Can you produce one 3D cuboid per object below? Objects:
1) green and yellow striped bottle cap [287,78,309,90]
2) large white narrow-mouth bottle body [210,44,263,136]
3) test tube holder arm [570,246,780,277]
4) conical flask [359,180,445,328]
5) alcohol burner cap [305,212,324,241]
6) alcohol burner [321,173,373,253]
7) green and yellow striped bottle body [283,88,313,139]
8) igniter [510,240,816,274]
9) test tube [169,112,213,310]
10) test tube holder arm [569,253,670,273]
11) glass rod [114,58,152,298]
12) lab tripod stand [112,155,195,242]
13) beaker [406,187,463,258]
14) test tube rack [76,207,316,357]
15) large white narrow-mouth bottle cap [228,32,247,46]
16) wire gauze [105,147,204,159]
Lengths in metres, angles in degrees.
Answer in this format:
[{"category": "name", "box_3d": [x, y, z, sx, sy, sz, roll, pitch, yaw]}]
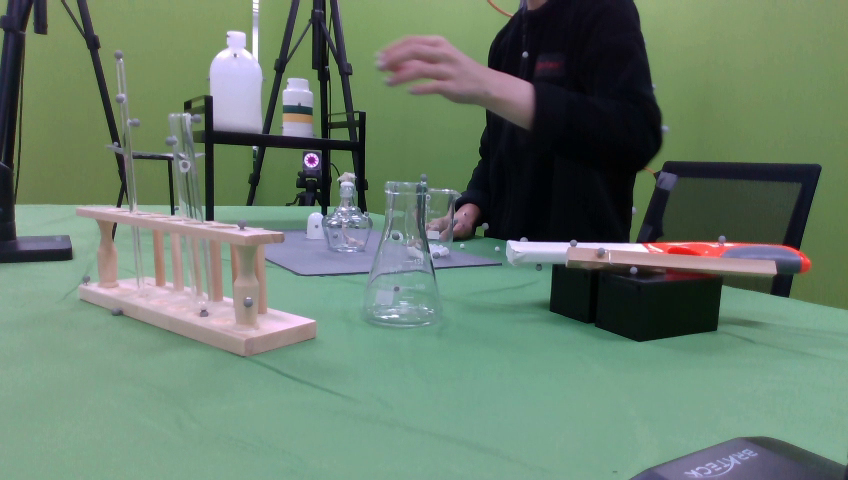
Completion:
[{"category": "green and yellow striped bottle cap", "box_3d": [-0.265, -0.326, 1.268, 0.045, 0.020, 0.045, 4, 6, 0]}, {"category": "large white narrow-mouth bottle body", "box_3d": [-0.369, -0.305, 1.194, 0.102, 0.194, 0.102, 3, 8, 0]}, {"category": "test tube holder arm", "box_3d": [0.217, 0.019, 0.525, 0.178, 0.015, 0.013, 3, -23, 3]}, {"category": "conical flask", "box_3d": [-0.017, 0.010, 0.522, 0.075, 0.122, 0.075, 2, 7, 0]}, {"category": "alcohol burner cap", "box_3d": [-0.185, -0.023, 1.027, 0.034, 0.048, 0.034, 2, 7, 0]}, {"category": "alcohol burner", "box_3d": [-0.115, -0.041, 0.905, 0.078, 0.119, 0.078, 1, 6, 0]}, {"category": "green and yellow striped bottle body", "box_3d": [-0.266, -0.275, 1.275, 0.063, 0.119, 0.063, 2, 7, 0]}, {"category": "igniter", "box_3d": [0.220, 0.015, 0.565, 0.277, 0.025, 0.057, 2, 17, 0]}, {"category": "test tube", "box_3d": [-0.175, -0.020, 0.455, 0.017, 0.150, 0.017, -3, 9, 1]}, {"category": "test tube holder arm", "box_3d": [0.172, 0.019, 0.532, 0.088, 0.015, 0.010, 3, -23, 3]}, {"category": "glass rod", "box_3d": [-0.236, -0.044, 0.492, 0.008, 0.199, 0.008, 0, 15, 0]}, {"category": "lab tripod stand", "box_3d": [-0.405, -0.064, 0.931, 0.148, 0.131, 0.148, 1, 6, 0]}, {"category": "beaker", "box_3d": [0.013, -0.026, 0.892, 0.084, 0.100, 0.074, 3, 8, -2]}, {"category": "test tube rack", "box_3d": [-0.196, 0.023, 0.499, 0.241, 0.085, 0.067, 8, 9, 36]}, {"category": "large white narrow-mouth bottle cap", "box_3d": [-0.364, -0.391, 1.180, 0.038, 0.024, 0.037, 3, 8, 0]}, {"category": "wire gauze", "box_3d": [-0.408, -0.131, 0.928, 0.125, 0.011, 0.121, 2, 6, -11]}]
